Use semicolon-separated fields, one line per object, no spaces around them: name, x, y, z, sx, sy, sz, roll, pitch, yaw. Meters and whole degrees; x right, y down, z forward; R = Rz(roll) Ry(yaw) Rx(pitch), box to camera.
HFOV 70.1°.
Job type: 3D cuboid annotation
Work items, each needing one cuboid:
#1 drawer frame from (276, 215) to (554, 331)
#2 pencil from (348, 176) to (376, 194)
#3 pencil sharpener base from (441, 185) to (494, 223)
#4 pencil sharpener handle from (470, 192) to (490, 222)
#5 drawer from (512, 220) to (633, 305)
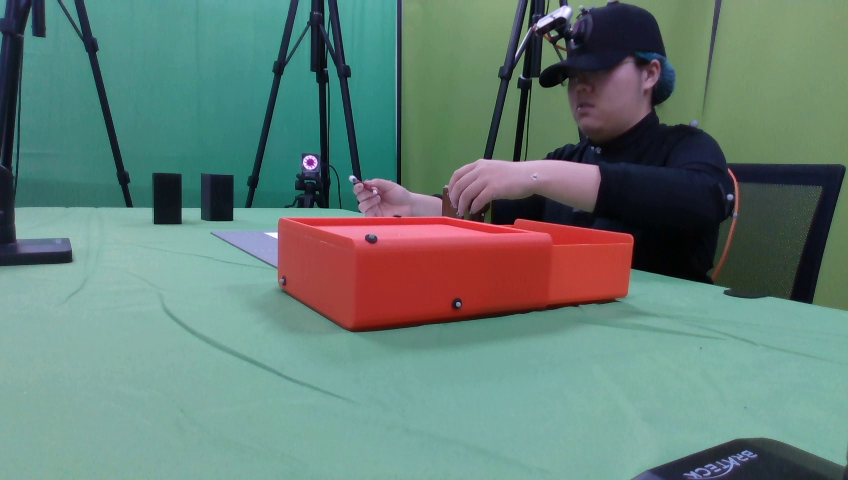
drawer frame;-0.015;0.022;0.610;0.215;0.082;0.200;-2;9;-32
pencil;-0.113;-0.101;1.106;0.012;0.012;0.193;0;13;-21
pencil sharpener base;0.071;-0.034;0.992;0.061;0.107;0.076;-1;9;-28
pencil sharpener handle;0.094;-0.039;0.946;0.036;0.067;0.030;2;7;-28
drawer;0.085;0.021;0.674;0.213;0.073;0.193;-2;9;-32
